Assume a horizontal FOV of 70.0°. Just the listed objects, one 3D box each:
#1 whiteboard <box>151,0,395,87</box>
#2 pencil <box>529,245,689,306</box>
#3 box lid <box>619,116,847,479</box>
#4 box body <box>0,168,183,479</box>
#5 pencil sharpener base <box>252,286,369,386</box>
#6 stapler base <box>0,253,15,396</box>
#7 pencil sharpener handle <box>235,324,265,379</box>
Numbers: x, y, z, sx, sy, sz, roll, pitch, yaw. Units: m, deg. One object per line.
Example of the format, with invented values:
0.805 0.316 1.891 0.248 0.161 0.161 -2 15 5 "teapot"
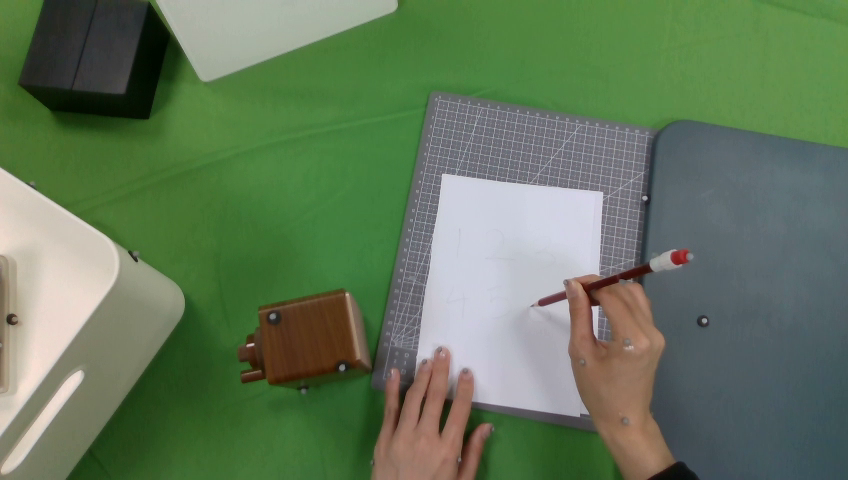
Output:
-0.173 -0.331 0.533 0.217 0.308 0.142 -23 57 -6 "whiteboard"
0.131 0.033 0.471 0.012 0.194 0.012 6 72 -19 "pencil"
0.325 0.067 0.560 0.263 0.015 0.369 10 76 0 "box lid"
-0.414 0.043 0.473 0.363 0.161 0.253 31 77 7 "box body"
-0.091 0.083 0.498 0.077 0.107 0.061 -12 76 -3 "pencil sharpener base"
-0.388 0.073 0.531 0.041 0.024 0.130 -10 78 -2 "stapler base"
-0.140 0.094 0.481 0.031 0.068 0.035 -12 59 -3 "pencil sharpener handle"
